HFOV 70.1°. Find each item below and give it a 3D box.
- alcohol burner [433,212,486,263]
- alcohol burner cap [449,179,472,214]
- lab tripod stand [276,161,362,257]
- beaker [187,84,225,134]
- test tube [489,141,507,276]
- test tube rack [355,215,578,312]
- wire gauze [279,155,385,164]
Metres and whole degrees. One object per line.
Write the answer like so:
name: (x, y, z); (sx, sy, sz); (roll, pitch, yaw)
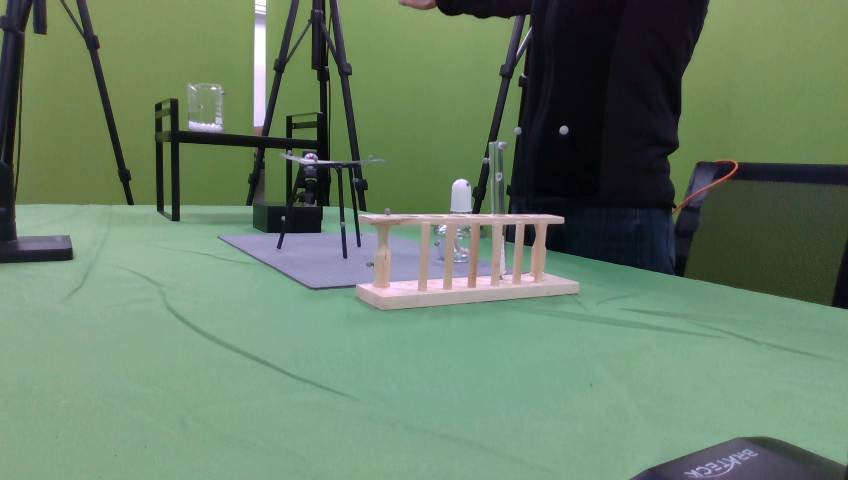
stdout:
alcohol burner: (0.051, -0.027, 0.862); (0.078, 0.119, 0.078); (1, 6, 0)
alcohol burner cap: (0.052, -0.063, 0.858); (0.034, 0.048, 0.034); (2, 13, 0)
lab tripod stand: (-0.143, -0.049, 0.884); (0.148, 0.131, 0.148); (2, 9, 0)
beaker: (-0.459, -0.274, 1.271); (0.074, 0.100, 0.084); (3, 8, 7)
test tube: (0.082, -0.034, 0.670); (0.017, 0.150, 0.017); (-3, 7, 1)
test tube rack: (0.053, 0.018, 0.640); (0.243, 0.085, 0.066); (-1, 8, -29)
wire gauze: (-0.134, -0.114, 0.875); (0.122, 0.011, 0.124); (-2, 9, -30)
